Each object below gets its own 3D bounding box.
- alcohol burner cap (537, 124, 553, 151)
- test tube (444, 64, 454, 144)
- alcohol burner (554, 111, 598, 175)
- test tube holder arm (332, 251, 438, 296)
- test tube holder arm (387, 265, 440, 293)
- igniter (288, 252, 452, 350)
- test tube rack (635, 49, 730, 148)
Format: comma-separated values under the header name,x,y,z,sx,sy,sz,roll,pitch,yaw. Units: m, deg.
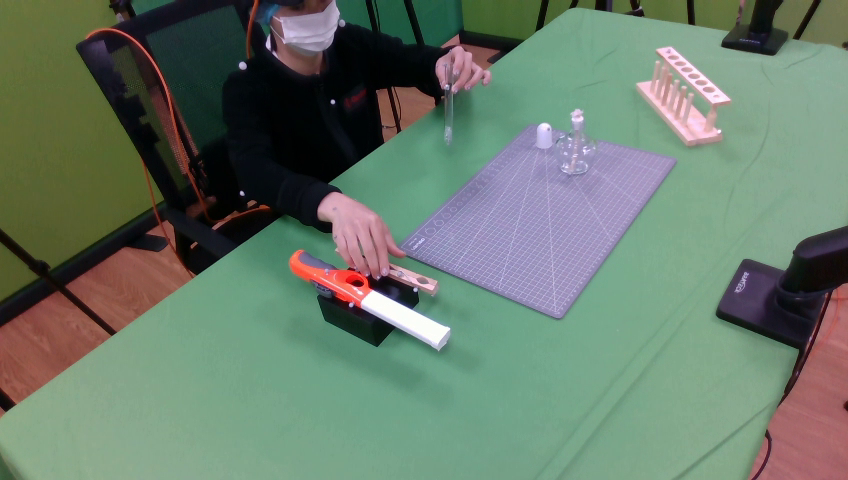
name,x,y,z,sx,sy,sz,roll,pitch,yaw
alcohol burner cap,0.232,-0.199,1.158,0.034,0.048,0.033,-5,40,5
test tube,0.043,-0.236,1.065,0.017,0.151,0.017,0,39,1
alcohol burner,0.270,-0.175,1.066,0.078,0.119,0.077,-4,42,4
test tube holder arm,-0.059,0.046,0.859,0.177,0.015,0.013,16,48,26
test tube holder arm,-0.017,0.054,0.843,0.087,0.015,0.010,18,49,27
igniter,-0.084,0.077,0.821,0.274,0.025,0.057,23,49,27
test tube rack,0.497,-0.283,1.184,0.067,0.085,0.240,-10,40,-2
